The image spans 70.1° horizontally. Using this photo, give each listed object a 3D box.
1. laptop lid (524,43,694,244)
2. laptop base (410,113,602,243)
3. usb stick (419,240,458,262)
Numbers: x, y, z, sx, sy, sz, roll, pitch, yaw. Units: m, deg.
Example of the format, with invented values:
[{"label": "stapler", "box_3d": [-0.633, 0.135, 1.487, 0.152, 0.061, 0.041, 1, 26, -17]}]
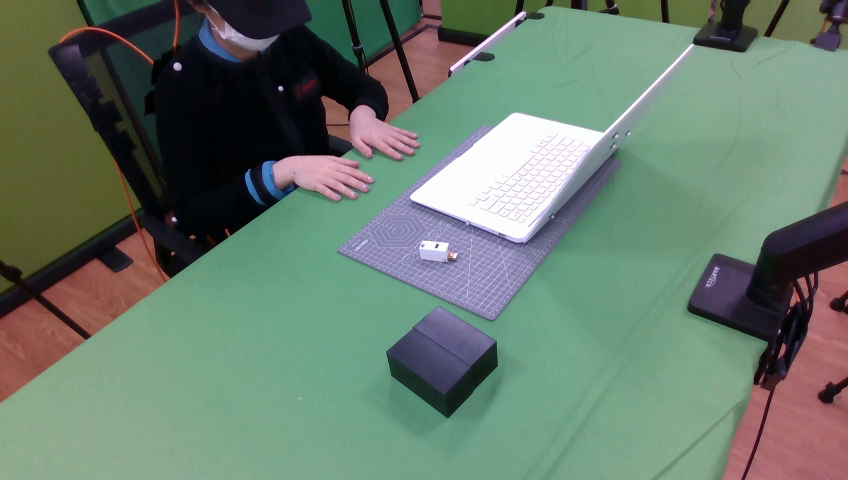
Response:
[{"label": "laptop lid", "box_3d": [0.290, -0.151, 0.941, 0.013, 0.241, 0.358, 40, 54, 12]}, {"label": "laptop base", "box_3d": [0.171, -0.127, 1.096, 0.233, 0.023, 0.355, 21, 47, 33]}, {"label": "usb stick", "box_3d": [0.023, 0.018, 0.936, 0.059, 0.027, 0.021, 9, 42, 15]}]
